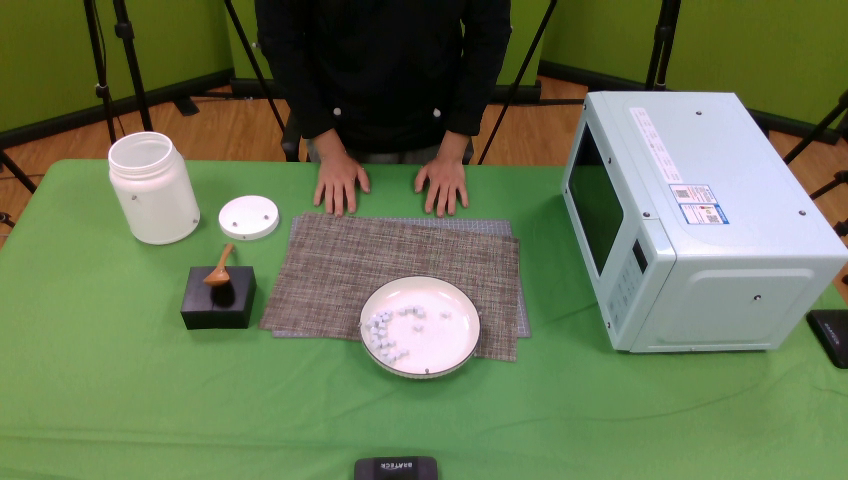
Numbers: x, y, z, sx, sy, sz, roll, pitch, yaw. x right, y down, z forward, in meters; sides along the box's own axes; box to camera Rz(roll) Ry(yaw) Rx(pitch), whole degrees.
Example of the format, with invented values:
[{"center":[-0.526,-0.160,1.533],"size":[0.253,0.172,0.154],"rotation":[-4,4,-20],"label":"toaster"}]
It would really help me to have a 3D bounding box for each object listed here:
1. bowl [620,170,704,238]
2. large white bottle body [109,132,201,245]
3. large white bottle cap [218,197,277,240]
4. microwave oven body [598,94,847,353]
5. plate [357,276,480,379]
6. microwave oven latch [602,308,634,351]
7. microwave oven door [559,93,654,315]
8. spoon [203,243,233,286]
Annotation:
[{"center":[0.446,-0.057,1.166],"size":[0.151,0.077,0.150],"rotation":[2,46,-2],"label":"bowl"},{"center":[-0.506,-0.097,1.141],"size":[0.131,0.185,0.130],"rotation":[2,46,-2],"label":"large white bottle body"},{"center":[-0.354,-0.045,1.220],"size":[0.115,0.018,0.114],"rotation":[2,45,-2],"label":"large white bottle cap"},{"center":[0.475,-0.041,1.109],"size":[0.326,0.261,0.438],"rotation":[-1,45,-4],"label":"microwave oven body"},{"center":[-0.010,0.151,1.038],"size":[0.209,0.038,0.208],"rotation":[2,47,-2],"label":"plate"},{"center":[0.332,0.153,1.044],"size":[0.030,0.029,0.078],"rotation":[-1,45,-4],"label":"microwave oven latch"},{"center":[0.327,-0.074,1.123],"size":[0.039,0.245,0.353],"rotation":[-1,46,-5],"label":"microwave oven door"},{"center":[-0.360,0.039,1.087],"size":[0.041,0.022,0.192],"rotation":[-5,24,-7],"label":"spoon"}]
